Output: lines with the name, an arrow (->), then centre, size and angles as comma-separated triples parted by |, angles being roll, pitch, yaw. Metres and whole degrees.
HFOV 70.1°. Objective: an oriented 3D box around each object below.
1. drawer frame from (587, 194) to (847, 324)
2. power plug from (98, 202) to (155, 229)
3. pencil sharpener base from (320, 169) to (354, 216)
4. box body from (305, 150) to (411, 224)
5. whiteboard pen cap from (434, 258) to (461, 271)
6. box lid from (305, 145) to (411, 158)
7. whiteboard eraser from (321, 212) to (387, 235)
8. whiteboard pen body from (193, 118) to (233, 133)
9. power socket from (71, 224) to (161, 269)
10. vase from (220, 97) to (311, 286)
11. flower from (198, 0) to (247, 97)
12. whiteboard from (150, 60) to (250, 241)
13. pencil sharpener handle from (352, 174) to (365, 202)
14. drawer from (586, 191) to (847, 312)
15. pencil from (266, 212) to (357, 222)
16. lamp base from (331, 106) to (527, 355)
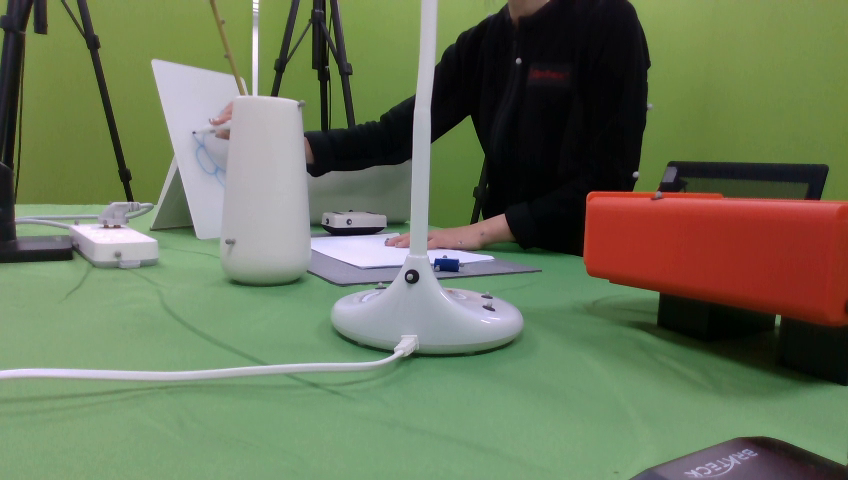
drawer frame -> 0.285, 0.004, 0.508 | 0.203, 0.082, 0.212 | -1, 6, -29
power plug -> -0.416, -0.026, 0.848 | 0.073, 0.052, 0.035 | 0, 8, -28
pencil sharpener base -> -0.207, -0.113, 1.439 | 0.077, 0.107, 0.061 | 1, 6, -11
box body -> -0.230, -0.126, 1.372 | 0.366, 0.160, 0.253 | -2, 8, -33
whiteboard pen cap -> 0.029, 0.031, 0.770 | 0.033, 0.018, 0.018 | 4, 8, 8
box lid -> -0.228, -0.200, 1.361 | 0.373, 0.015, 0.262 | -1, 8, -33
whiteboard eraser -> -0.128, -0.031, 1.109 | 0.113, 0.042, 0.055 | -3, 8, -38
whiteboard pen body -> -0.319, -0.190, 0.988 | 0.140, 0.017, 0.017 | -8, 4, 17
power socket -> -0.408, 0.004, 0.793 | 0.072, 0.032, 0.225 | -2, 8, -38
vase -> -0.172, -0.052, 0.662 | 0.098, 0.200, 0.098 | 3, 9, 0
flower -> -0.187, -0.133, 0.648 | 0.038, 0.362, 0.044 | 0, 22, 43
whiteboard -> -0.408, -0.139, 1.093 | 0.143, 0.305, 0.218 | -15, -1, 26
pencil sharpener handle -> -0.156, -0.125, 1.450 | 0.031, 0.068, 0.036 | 1, 20, -11
drawer -> 0.282, 0.001, 0.513 | 0.195, 0.073, 0.210 | -1, 8, -29
pencil -> -0.244, -0.049, 1.318 | 0.195, 0.012, 0.012 | 4, 7, -12
lamp base -> 0.006, -0.012, 0.478 | 0.161, 0.180, 0.179 | 2, 10, 2
